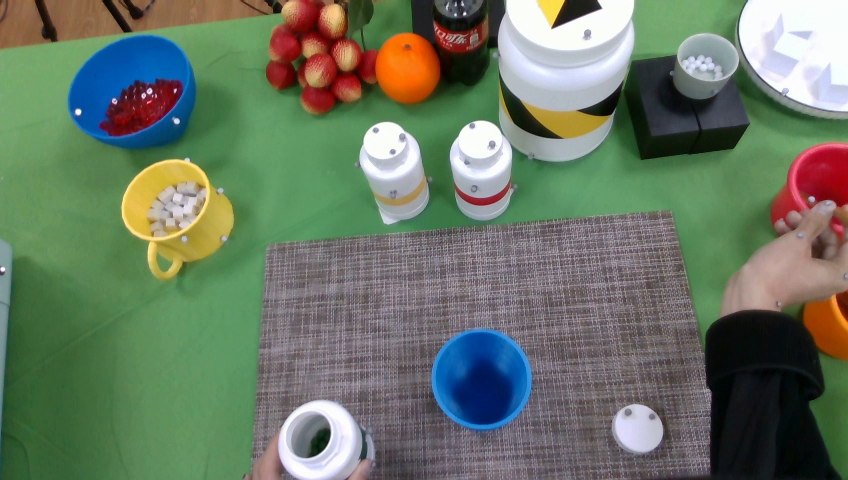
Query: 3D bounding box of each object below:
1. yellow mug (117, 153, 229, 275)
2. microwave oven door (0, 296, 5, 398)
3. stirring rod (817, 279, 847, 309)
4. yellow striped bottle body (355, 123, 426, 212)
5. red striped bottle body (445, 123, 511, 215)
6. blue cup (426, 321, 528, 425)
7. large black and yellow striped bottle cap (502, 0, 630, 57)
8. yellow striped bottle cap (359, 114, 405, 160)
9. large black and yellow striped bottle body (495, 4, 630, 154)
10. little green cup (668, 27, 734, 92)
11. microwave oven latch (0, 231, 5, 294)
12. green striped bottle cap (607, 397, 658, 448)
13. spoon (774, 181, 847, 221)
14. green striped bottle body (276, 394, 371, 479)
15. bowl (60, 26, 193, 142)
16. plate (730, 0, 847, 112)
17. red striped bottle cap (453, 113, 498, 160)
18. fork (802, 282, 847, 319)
[{"bbox_3d":[-0.283,-0.025,0.677,0.100,0.064,0.130,5,69,7],"label":"yellow mug"},{"bbox_3d":[-0.457,0.181,0.498,0.039,0.246,0.353,-14,67,1],"label":"microwave oven door"},{"bbox_3d":[0.395,0.076,0.523,0.014,0.006,0.175,-3,24,3],"label":"stirring rod"},{"bbox_3d":[-0.036,-0.082,0.643,0.063,0.121,0.062,-2,67,6],"label":"yellow striped bottle body"},{"bbox_3d":[0.058,-0.079,0.633,0.063,0.121,0.062,-4,66,9],"label":"red striped bottle body"},{"bbox_3d":[0.049,0.129,0.554,0.092,0.101,0.092,-2,66,4],"label":"blue cup"},{"bbox_3d":[0.129,-0.219,0.555,0.115,0.019,0.114,-3,67,6],"label":"large black and yellow striped bottle cap"},{"bbox_3d":[-0.042,-0.101,0.596,0.044,0.019,0.044,-2,69,5],"label":"yellow striped bottle cap"},{"bbox_3d":[0.139,-0.189,0.633,0.130,0.185,0.130,-2,68,6],"label":"large black and yellow striped bottle body"},{"bbox_3d":[0.290,-0.189,0.640,0.061,0.039,0.061,-2,66,5],"label":"little green cup"},{"bbox_3d":[-0.490,0.023,0.676,0.030,0.030,0.078,-12,68,1],"label":"microwave oven latch"},{"bbox_3d":[0.195,0.170,0.567,0.044,0.020,0.044,-2,59,4],"label":"green striped bottle cap"},{"bbox_3d":[0.364,-0.031,0.551,0.041,0.193,0.022,21,105,7],"label":"spoon"},{"bbox_3d":[-0.084,0.168,0.511,0.063,0.120,0.062,-2,64,4],"label":"green striped bottle body"},{"bbox_3d":[-0.345,-0.175,0.739,0.151,0.077,0.150,-2,68,5],"label":"bowl"},{"bbox_3d":[0.457,-0.231,0.694,0.209,0.038,0.207,-2,68,5],"label":"plate"},{"bbox_3d":[0.050,-0.100,0.585,0.044,0.018,0.044,-1,66,2],"label":"red striped bottle cap"},{"bbox_3d":[0.424,0.075,0.513,0.028,0.019,0.205,-42,25,-10],"label":"fork"}]
